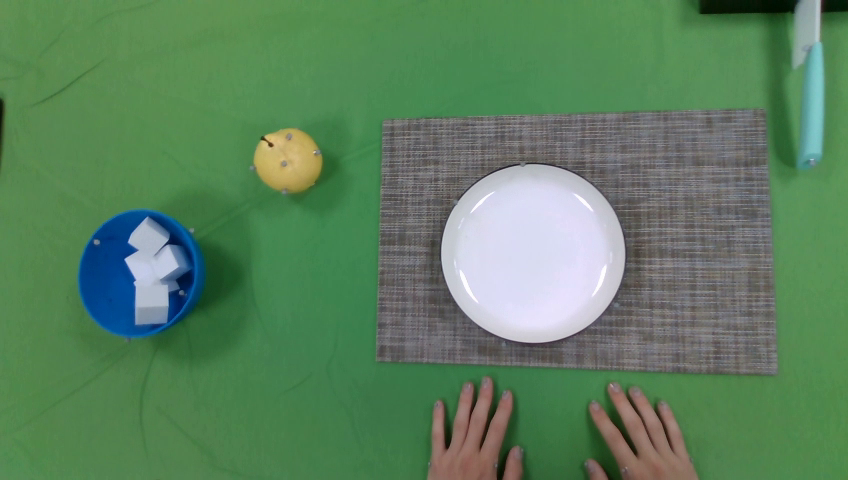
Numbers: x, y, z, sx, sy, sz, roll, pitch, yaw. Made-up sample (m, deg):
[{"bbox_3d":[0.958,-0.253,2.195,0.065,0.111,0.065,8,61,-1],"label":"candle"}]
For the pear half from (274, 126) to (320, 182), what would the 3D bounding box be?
[{"bbox_3d":[-0.146,-0.109,0.723,0.031,0.088,0.070,-27,70,4],"label":"pear half"}]

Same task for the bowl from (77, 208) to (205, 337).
[{"bbox_3d":[-0.327,0.042,0.737,0.151,0.077,0.151,-1,83,7],"label":"bowl"}]

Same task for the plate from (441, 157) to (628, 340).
[{"bbox_3d":[0.124,0.010,0.695,0.207,0.039,0.207,-1,83,8],"label":"plate"}]

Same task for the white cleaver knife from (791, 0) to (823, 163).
[{"bbox_3d":[0.423,-0.229,0.667,0.021,0.066,0.286,2,93,13],"label":"white cleaver knife"}]

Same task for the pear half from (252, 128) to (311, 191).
[{"bbox_3d":[-0.180,-0.096,0.716,0.056,0.110,0.076,-28,69,3],"label":"pear half"}]
